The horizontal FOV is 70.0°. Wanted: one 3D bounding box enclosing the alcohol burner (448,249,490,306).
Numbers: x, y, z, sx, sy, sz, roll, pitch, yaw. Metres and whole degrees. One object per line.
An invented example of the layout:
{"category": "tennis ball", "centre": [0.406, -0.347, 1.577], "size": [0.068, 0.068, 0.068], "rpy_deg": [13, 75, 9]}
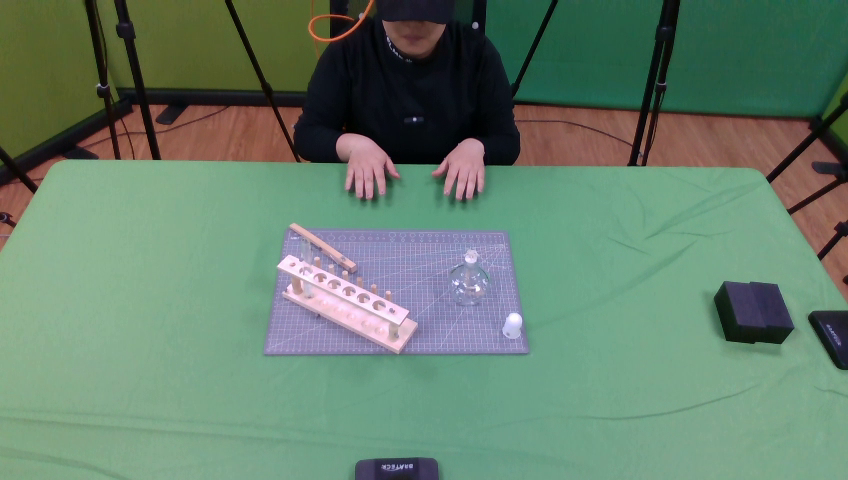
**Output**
{"category": "alcohol burner", "centre": [0.081, 0.062, 1.078], "size": [0.078, 0.120, 0.077], "rpy_deg": [1, 45, -1]}

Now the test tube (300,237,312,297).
{"category": "test tube", "centre": [-0.198, 0.049, 1.019], "size": [0.017, 0.151, 0.017], "rpy_deg": [4, 49, -5]}

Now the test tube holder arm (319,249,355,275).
{"category": "test tube holder arm", "centre": [-0.166, 0.038, 1.154], "size": [0.087, 0.010, 0.015], "rpy_deg": [37, 49, 21]}

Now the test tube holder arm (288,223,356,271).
{"category": "test tube holder arm", "centre": [-0.199, 0.011, 1.169], "size": [0.177, 0.013, 0.015], "rpy_deg": [32, 47, 26]}

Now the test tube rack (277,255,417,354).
{"category": "test tube rack", "centre": [-0.131, 0.099, 1.045], "size": [0.241, 0.085, 0.066], "rpy_deg": [23, 49, 17]}

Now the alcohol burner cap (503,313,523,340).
{"category": "alcohol burner cap", "centre": [0.155, 0.147, 1.051], "size": [0.034, 0.048, 0.033], "rpy_deg": [1, 46, -1]}
